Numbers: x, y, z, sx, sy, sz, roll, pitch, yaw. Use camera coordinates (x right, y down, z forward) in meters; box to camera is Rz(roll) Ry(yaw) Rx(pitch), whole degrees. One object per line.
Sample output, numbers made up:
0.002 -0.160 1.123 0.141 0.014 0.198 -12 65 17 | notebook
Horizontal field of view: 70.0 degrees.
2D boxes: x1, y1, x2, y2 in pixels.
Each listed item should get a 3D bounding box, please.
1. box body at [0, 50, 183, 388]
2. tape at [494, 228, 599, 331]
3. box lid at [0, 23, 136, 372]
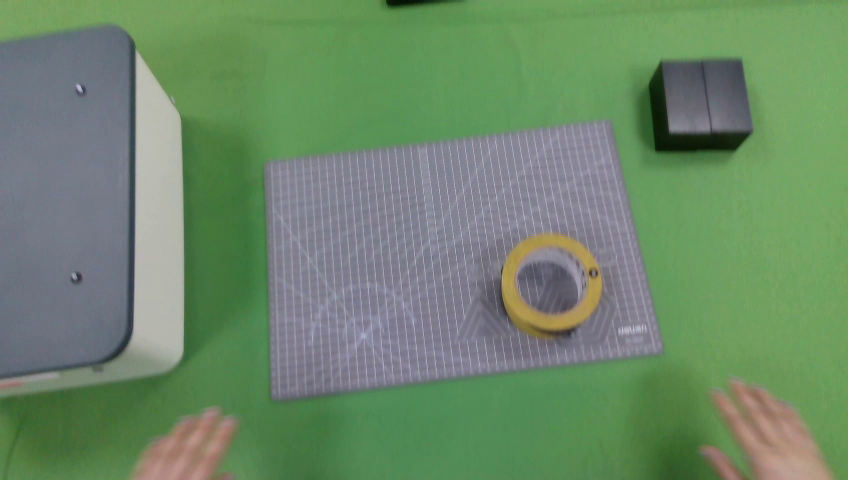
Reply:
-0.421 -0.026 0.681 0.254 0.161 0.361 -8 72 -1 | box body
0.140 0.047 0.693 0.117 0.053 0.116 -1 72 3 | tape
-0.423 -0.052 0.611 0.263 0.015 0.369 -8 73 -1 | box lid
